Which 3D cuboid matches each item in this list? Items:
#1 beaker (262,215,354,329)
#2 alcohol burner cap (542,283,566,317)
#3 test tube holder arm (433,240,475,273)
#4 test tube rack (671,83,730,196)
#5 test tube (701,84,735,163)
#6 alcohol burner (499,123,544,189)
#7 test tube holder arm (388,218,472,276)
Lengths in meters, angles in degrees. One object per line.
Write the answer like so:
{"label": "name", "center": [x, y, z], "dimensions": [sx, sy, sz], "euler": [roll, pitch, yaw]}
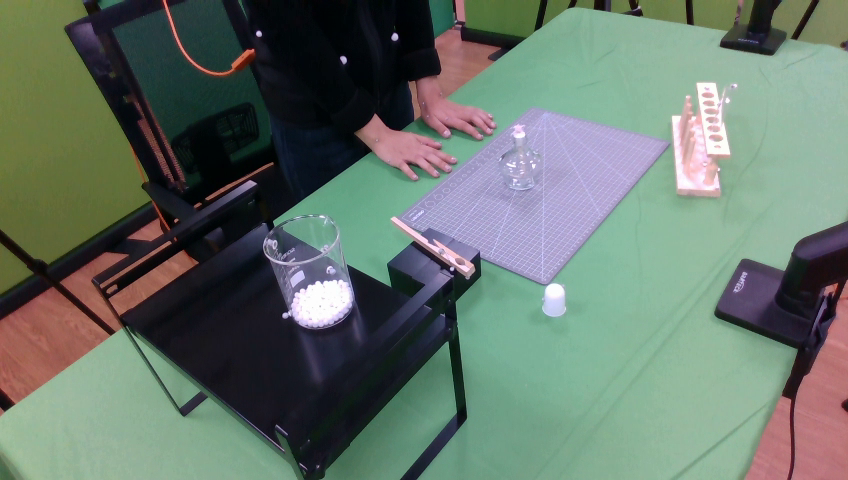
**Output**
{"label": "beaker", "center": [-0.112, 0.034, 0.616], "dimensions": [0.073, 0.101, 0.084], "euler": [13, 44, 23]}
{"label": "alcohol burner cap", "center": [0.181, 0.081, 0.839], "dimensions": [0.034, 0.048, 0.033], "euler": [-4, 40, 4]}
{"label": "test tube holder arm", "center": [0.039, 0.024, 0.871], "dimensions": [0.010, 0.015, 0.087], "euler": [-33, 46, -28]}
{"label": "test tube rack", "center": [0.482, -0.184, 1.067], "dimensions": [0.066, 0.085, 0.242], "euler": [5, 42, 15]}
{"label": "test tube", "center": [0.483, -0.189, 0.996], "dimensions": [0.017, 0.151, 0.017], "euler": [-2, 45, 3]}
{"label": "alcohol burner", "center": [0.168, -0.149, 1.048], "dimensions": [0.078, 0.119, 0.077], "euler": [-6, 41, 6]}
{"label": "test tube holder arm", "center": [0.005, 0.008, 0.895], "dimensions": [0.013, 0.015, 0.177], "euler": [-35, 46, -29]}
